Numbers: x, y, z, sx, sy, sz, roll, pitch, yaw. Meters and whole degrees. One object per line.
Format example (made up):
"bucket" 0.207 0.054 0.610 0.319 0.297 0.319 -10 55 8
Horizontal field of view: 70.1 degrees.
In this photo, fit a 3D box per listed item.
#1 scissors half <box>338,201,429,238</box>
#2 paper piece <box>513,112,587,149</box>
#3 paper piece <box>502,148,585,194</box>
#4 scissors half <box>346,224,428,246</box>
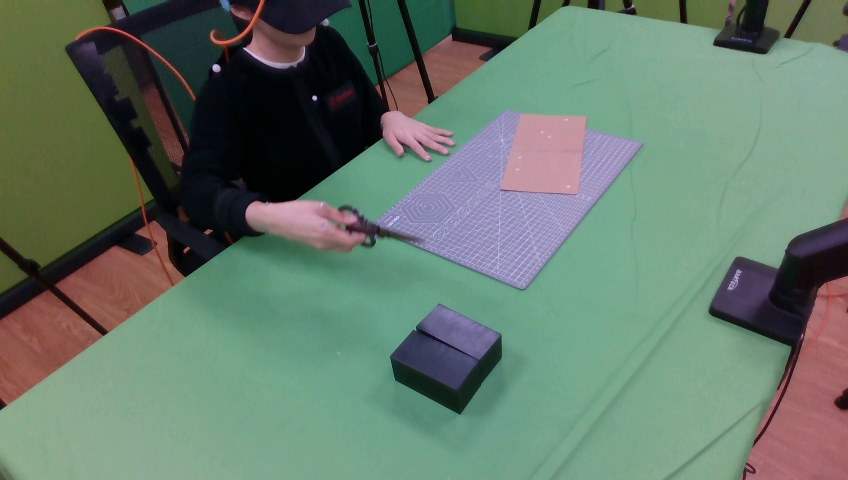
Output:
"scissors half" -0.058 -0.024 0.830 0.174 0.040 0.013 18 46 37
"paper piece" 0.252 -0.215 1.196 0.135 0.004 0.135 6 42 14
"paper piece" 0.219 -0.128 1.101 0.135 0.009 0.138 2 42 17
"scissors half" -0.052 -0.007 0.840 0.174 0.040 0.013 2 39 49
